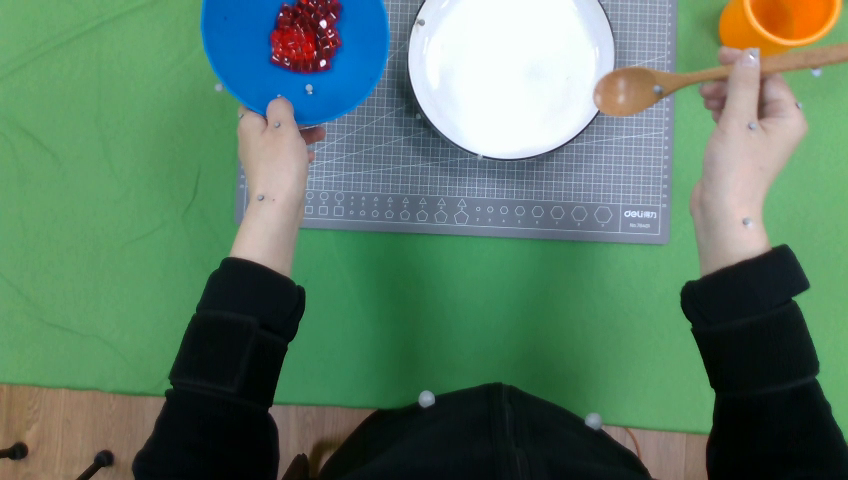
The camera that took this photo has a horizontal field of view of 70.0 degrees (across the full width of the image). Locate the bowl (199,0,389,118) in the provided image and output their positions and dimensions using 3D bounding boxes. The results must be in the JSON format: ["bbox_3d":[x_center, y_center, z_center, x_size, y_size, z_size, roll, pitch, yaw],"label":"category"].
[{"bbox_3d":[-0.110,-0.179,0.524,0.152,0.076,0.151,-2,98,-13],"label":"bowl"}]

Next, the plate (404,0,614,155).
[{"bbox_3d":[0.084,-0.188,0.616,0.209,0.038,0.209,0,88,1],"label":"plate"}]

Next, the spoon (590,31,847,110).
[{"bbox_3d":[0.210,-0.127,0.447,0.022,0.192,0.041,1,91,-39],"label":"spoon"}]
